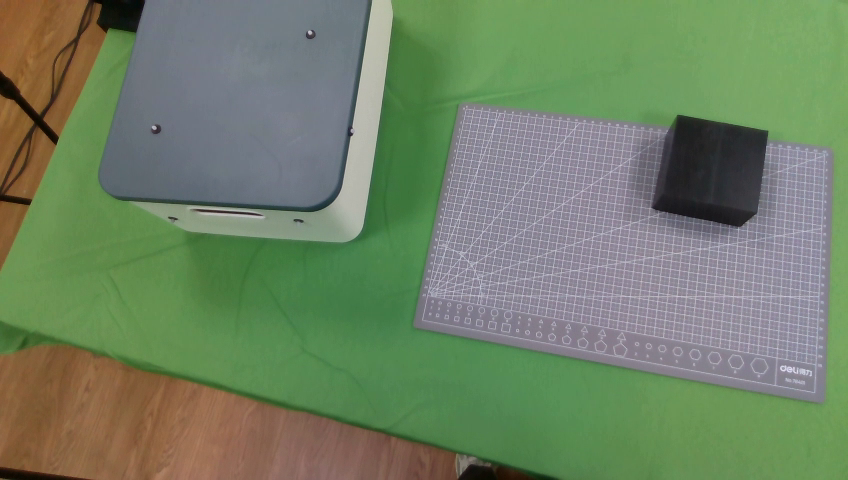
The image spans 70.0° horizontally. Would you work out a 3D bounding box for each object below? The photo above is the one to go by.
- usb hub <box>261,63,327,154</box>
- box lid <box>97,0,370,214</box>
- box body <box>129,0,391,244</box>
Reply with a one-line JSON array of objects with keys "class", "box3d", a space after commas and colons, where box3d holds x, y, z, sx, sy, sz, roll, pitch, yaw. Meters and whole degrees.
[{"class": "usb hub", "box3d": [-0.167, -0.171, 0.784, 0.049, 0.025, 0.124, 9, 68, 12]}, {"class": "box lid", "box3d": [-0.196, -0.206, 0.660, 0.263, 0.015, 0.369, 4, 74, 8]}, {"class": "box body", "box3d": [-0.187, -0.186, 0.732, 0.254, 0.161, 0.362, 4, 74, 7]}]
